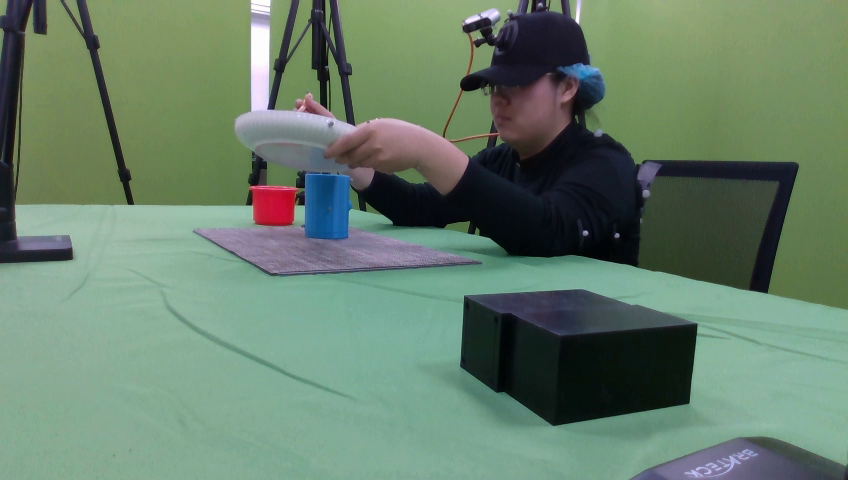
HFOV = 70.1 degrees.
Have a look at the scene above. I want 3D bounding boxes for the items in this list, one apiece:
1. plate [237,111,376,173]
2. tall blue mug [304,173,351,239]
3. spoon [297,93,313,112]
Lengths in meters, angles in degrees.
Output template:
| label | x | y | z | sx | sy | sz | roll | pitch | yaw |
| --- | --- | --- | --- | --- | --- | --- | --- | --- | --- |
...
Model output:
| label | x | y | z | sx | sy | sz | roll | pitch | yaw |
| --- | --- | --- | --- | --- | --- | --- | --- | --- | --- |
| plate | -0.177 | -0.139 | 0.916 | 0.208 | 0.039 | 0.207 | 5 | -9 | 1 |
| tall blue mug | -0.179 | -0.062 | 1.062 | 0.078 | 0.108 | 0.106 | -4 | 10 | -38 |
| spoon | -0.225 | -0.234 | 1.102 | 0.042 | 0.021 | 0.193 | 40 | 29 | -18 |
